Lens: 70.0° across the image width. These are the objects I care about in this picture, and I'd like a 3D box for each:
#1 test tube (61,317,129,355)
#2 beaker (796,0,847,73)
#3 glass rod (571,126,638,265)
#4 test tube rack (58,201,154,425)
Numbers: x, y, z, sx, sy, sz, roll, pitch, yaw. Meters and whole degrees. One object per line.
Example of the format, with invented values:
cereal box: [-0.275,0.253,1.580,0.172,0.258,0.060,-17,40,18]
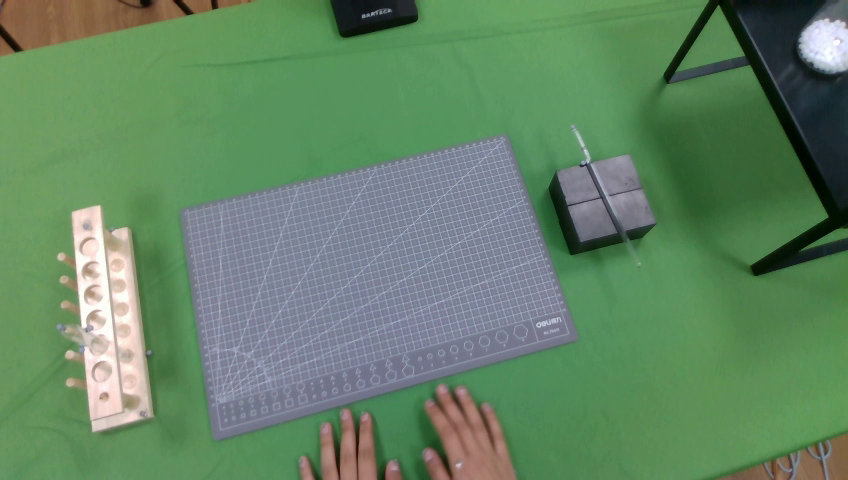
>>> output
test tube: [-0.347,0.105,0.647,0.017,0.151,0.017,2,71,-6]
beaker: [0.449,-0.229,0.635,0.084,0.101,0.073,-34,74,-11]
glass rod: [0.225,-0.059,0.759,0.008,0.008,0.198,-17,73,-7]
test tube rack: [-0.379,0.085,0.706,0.067,0.085,0.240,-14,72,-6]
